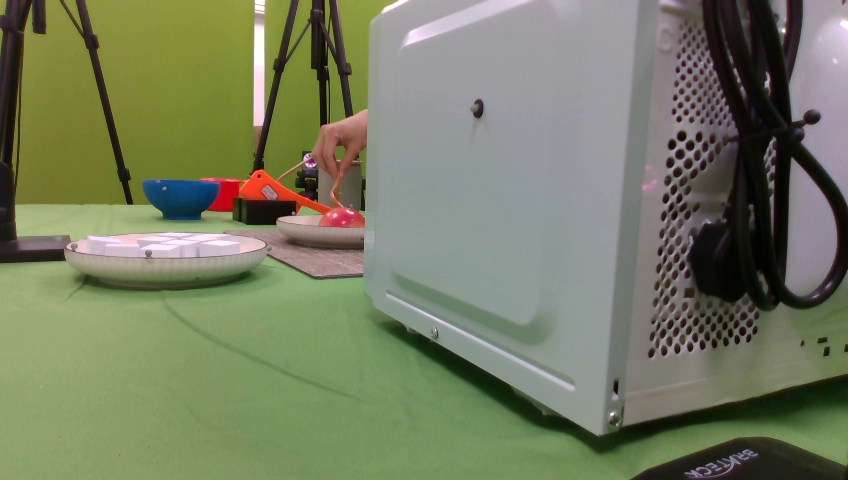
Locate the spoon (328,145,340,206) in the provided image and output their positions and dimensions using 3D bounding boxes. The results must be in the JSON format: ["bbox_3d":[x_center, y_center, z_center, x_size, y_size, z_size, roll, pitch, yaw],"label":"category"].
[{"bbox_3d":[-0.160,-0.114,1.091,0.021,0.042,0.193,-15,43,4],"label":"spoon"}]

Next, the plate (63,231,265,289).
[{"bbox_3d":[-0.288,0.021,0.687,0.208,0.039,0.207,2,8,0],"label":"plate"}]

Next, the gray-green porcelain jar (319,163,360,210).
[{"bbox_3d":[-0.204,-0.126,1.489,0.106,0.126,0.106,2,7,0],"label":"gray-green porcelain jar"}]

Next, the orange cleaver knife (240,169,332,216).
[{"bbox_3d":[-0.286,-0.082,1.298,0.212,0.077,0.012,25,-2,-31],"label":"orange cleaver knife"}]

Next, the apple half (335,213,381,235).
[{"bbox_3d":[-0.111,-0.029,1.033,0.081,0.033,0.081,-3,9,1],"label":"apple half"}]

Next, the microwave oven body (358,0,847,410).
[{"bbox_3d":[0.210,-0.051,0.471,0.444,0.260,0.324,-1,7,-28],"label":"microwave oven body"}]

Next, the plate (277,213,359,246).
[{"bbox_3d":[-0.135,-0.018,0.994,0.209,0.038,0.209,2,7,0],"label":"plate"}]

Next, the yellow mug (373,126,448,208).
[{"bbox_3d":[-0.013,-0.119,0.939,0.100,0.130,0.064,-5,47,-49],"label":"yellow mug"}]

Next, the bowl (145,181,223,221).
[{"bbox_3d":[-0.499,-0.081,1.261,0.151,0.077,0.151,2,8,0],"label":"bowl"}]

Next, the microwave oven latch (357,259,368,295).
[{"bbox_3d":[-0.019,0.031,0.529,0.079,0.029,0.030,-1,7,-26],"label":"microwave oven latch"}]

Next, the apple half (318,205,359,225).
[{"bbox_3d":[-0.126,-0.028,0.954,0.081,0.053,0.074,-2,11,-33],"label":"apple half"}]

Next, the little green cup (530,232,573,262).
[{"bbox_3d":[0.184,0.010,0.880,0.061,0.038,0.061,2,5,0],"label":"little green cup"}]

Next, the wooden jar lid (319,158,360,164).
[{"bbox_3d":[-0.203,-0.189,1.482,0.108,0.020,0.108,2,10,0],"label":"wooden jar lid"}]

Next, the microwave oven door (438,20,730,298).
[{"bbox_3d":[0.181,-0.076,0.618,0.358,0.243,0.039,-2,8,-28],"label":"microwave oven door"}]

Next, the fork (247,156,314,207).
[{"bbox_3d":[-0.360,-0.147,1.522,0.207,0.018,0.028,-43,14,-7],"label":"fork"}]
